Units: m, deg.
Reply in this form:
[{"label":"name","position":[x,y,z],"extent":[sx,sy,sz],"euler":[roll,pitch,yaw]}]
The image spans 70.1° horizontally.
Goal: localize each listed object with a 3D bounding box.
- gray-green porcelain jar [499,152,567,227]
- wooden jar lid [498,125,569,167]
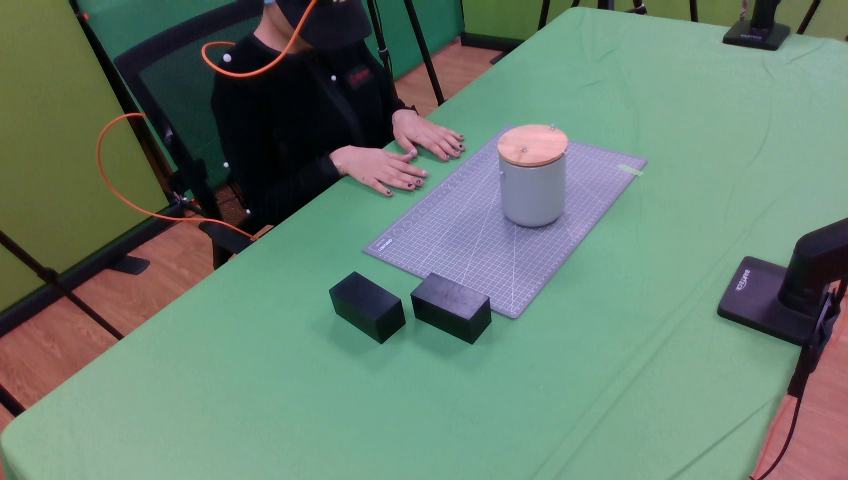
[{"label":"gray-green porcelain jar","position":[0.177,-0.093,0.974],"extent":[0.106,0.127,0.105],"euler":[-5,40,5]},{"label":"wooden jar lid","position":[0.168,-0.142,0.933],"extent":[0.108,0.021,0.108],"euler":[-5,41,5]}]
